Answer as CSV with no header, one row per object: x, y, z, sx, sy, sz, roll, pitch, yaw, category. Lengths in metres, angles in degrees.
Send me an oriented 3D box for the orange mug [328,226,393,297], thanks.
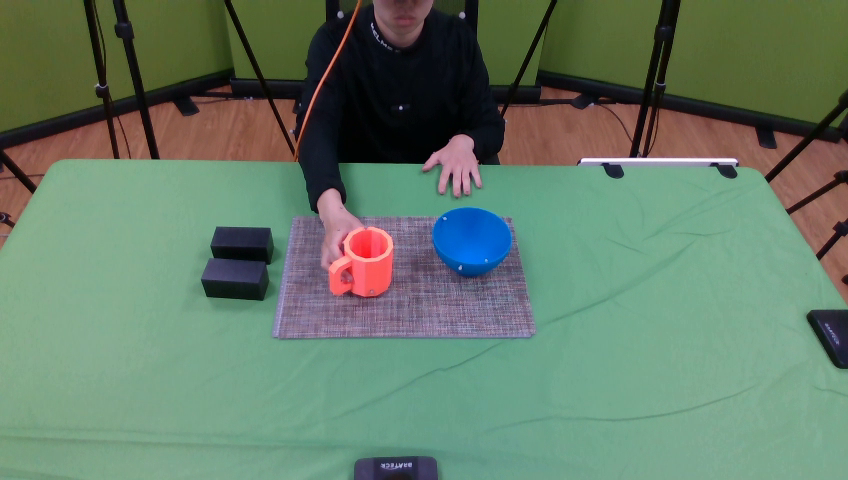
-0.115,0.046,1.072,0.126,0.101,0.083,-27,54,-34,orange mug

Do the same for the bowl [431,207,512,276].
0.086,0.016,1.146,0.151,0.077,0.150,2,46,-2,bowl
